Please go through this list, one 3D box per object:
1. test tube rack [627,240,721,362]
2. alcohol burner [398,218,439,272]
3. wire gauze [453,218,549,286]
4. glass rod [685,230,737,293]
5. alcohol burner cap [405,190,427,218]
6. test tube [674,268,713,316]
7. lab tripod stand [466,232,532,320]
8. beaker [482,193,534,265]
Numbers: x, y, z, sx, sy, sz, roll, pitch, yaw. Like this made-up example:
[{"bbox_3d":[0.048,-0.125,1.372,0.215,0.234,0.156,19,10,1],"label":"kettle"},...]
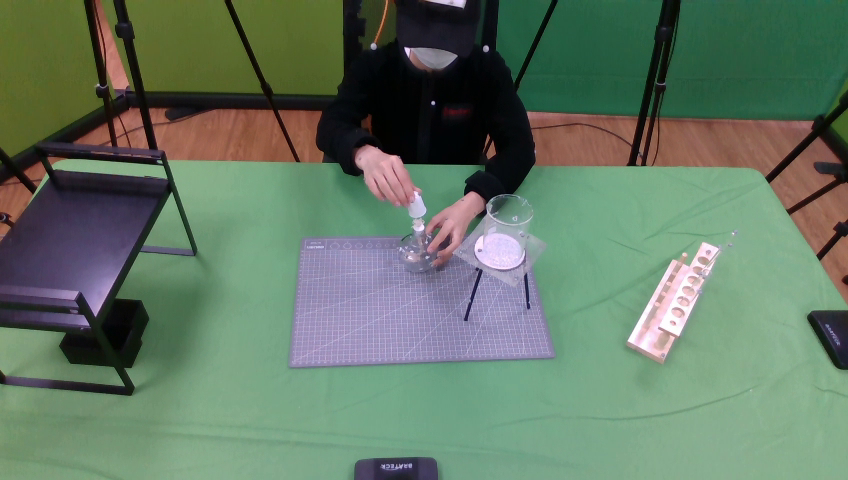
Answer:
[{"bbox_3d":[0.452,0.098,1.087,0.066,0.085,0.242,28,51,22],"label":"test tube rack"},{"bbox_3d":[-0.010,0.004,1.124,0.078,0.120,0.077,1,47,-1],"label":"alcohol burner"},{"bbox_3d":[0.129,0.014,1.018,0.124,0.011,0.121,26,47,25],"label":"wire gauze"},{"bbox_3d":[0.495,0.042,1.051,0.008,0.200,0.008,2,55,-2],"label":"glass rod"},{"bbox_3d":[-0.016,-0.066,1.054,0.034,0.048,0.033,-9,45,9],"label":"alcohol burner cap"},{"bbox_3d":[0.445,0.098,1.017,0.017,0.151,0.017,4,49,-4],"label":"test tube"},{"bbox_3d":[0.125,0.059,1.065,0.148,0.132,0.147,1,45,0],"label":"lab tripod stand"},{"bbox_3d":[0.135,-0.016,0.979,0.073,0.101,0.084,35,52,28],"label":"beaker"}]
